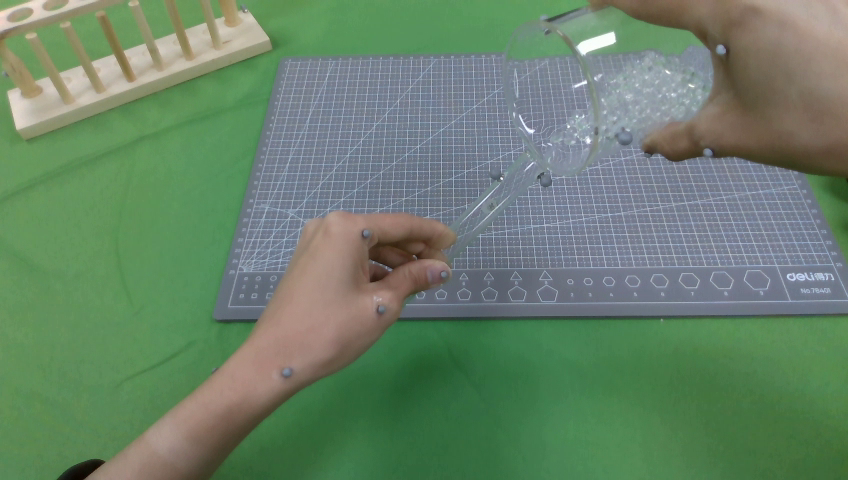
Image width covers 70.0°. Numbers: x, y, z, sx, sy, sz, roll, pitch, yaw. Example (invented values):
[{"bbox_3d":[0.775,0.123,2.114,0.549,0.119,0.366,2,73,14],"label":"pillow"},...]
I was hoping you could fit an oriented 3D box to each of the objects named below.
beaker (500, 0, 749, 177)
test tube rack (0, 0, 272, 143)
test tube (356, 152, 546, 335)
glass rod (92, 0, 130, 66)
[{"bbox_3d":[0.100,-0.081,0.302,0.100,0.084,0.073,-24,58,-17],"label":"beaker"},{"bbox_3d":[-0.277,-0.186,0.568,0.242,0.086,0.066,-26,56,-16],"label":"test tube rack"},{"bbox_3d":[0.011,0.006,0.347,0.150,0.017,0.017,-45,51,22],"label":"test tube"},{"bbox_3d":[-0.290,-0.226,0.515,0.008,0.201,0.008,1,55,-1],"label":"glass rod"}]
